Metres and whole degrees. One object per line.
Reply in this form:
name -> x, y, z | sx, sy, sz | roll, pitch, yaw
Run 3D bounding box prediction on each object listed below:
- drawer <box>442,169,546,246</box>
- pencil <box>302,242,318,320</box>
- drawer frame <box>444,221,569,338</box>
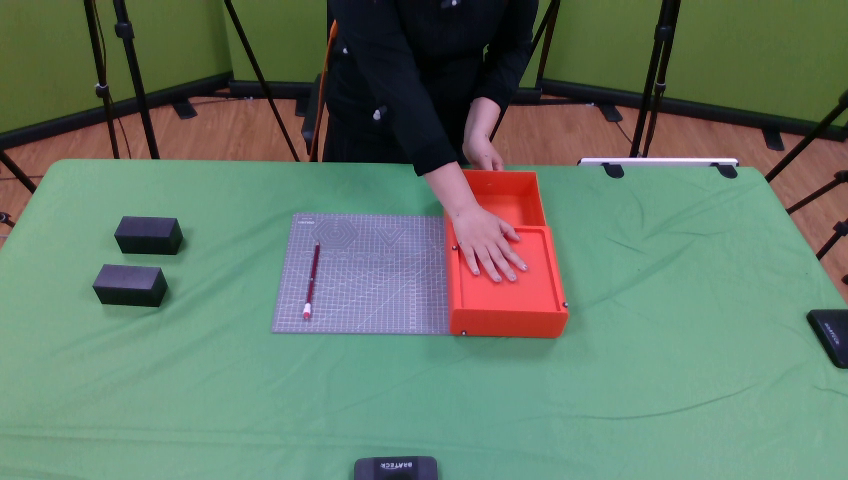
drawer -> 0.137, -0.046, 1.206 | 0.195, 0.073, 0.210 | 2, 48, -4
pencil -> -0.209, 0.070, 1.119 | 0.012, 0.012, 0.193 | 2, 44, -3
drawer frame -> 0.142, 0.068, 1.098 | 0.202, 0.083, 0.212 | 2, 46, -4
